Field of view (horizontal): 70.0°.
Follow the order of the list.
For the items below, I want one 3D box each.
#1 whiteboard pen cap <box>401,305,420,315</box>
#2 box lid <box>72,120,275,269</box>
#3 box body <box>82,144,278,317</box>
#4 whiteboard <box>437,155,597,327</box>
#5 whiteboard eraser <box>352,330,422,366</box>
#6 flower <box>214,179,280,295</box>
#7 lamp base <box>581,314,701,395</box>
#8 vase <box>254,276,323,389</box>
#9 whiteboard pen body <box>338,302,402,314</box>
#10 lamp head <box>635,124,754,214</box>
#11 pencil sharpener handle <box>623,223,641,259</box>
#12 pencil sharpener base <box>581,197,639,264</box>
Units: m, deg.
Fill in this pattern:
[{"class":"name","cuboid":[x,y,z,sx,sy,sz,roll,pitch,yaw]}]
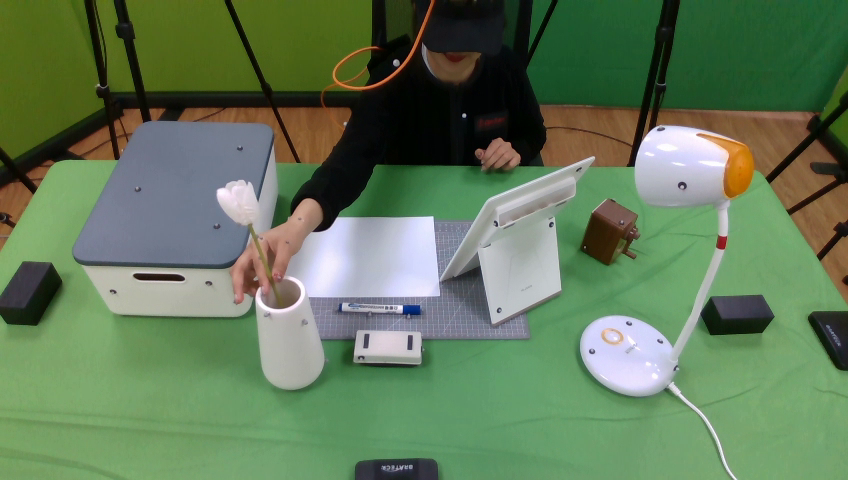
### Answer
[{"class":"whiteboard pen cap","cuboid":[-0.023,0.124,1.075,0.033,0.018,0.018,1,46,0]},{"class":"box lid","cuboid":[-0.417,-0.094,1.056,0.263,0.015,0.369,1,47,-3]},{"class":"box body","cuboid":[-0.421,-0.040,1.108,0.254,0.161,0.361,2,46,-3]},{"class":"whiteboard","cuboid":[0.180,0.024,1.028,0.217,0.306,0.143,-22,70,-23]},{"class":"whiteboard eraser","cuboid":[-0.060,0.180,1.005,0.113,0.042,0.055,2,47,-2]},{"class":"flower","cuboid":[-0.214,0.074,0.872,0.044,0.363,0.038,-24,35,-15]},{"class":"lamp base","cuboid":[0.361,0.145,0.972,0.178,0.181,0.160,34,53,23]},{"class":"vase","cuboid":[-0.210,0.143,0.921,0.098,0.201,0.097,1,46,-1]},{"class":"whiteboard pen body","cuboid":[-0.083,0.121,1.074,0.141,0.017,0.017,3,46,-2]},{"class":"lamp head","cuboid":[0.351,-0.089,0.775,0.112,0.113,0.122,-30,30,-28]},{"class":"pencil sharpener handle","cuboid":[0.399,0.003,1.146,0.030,0.068,0.036,35,45,26]},{"class":"pencil sharpener base","cuboid":[0.362,-0.016,1.178,0.076,0.107,0.061,35,53,26]}]
